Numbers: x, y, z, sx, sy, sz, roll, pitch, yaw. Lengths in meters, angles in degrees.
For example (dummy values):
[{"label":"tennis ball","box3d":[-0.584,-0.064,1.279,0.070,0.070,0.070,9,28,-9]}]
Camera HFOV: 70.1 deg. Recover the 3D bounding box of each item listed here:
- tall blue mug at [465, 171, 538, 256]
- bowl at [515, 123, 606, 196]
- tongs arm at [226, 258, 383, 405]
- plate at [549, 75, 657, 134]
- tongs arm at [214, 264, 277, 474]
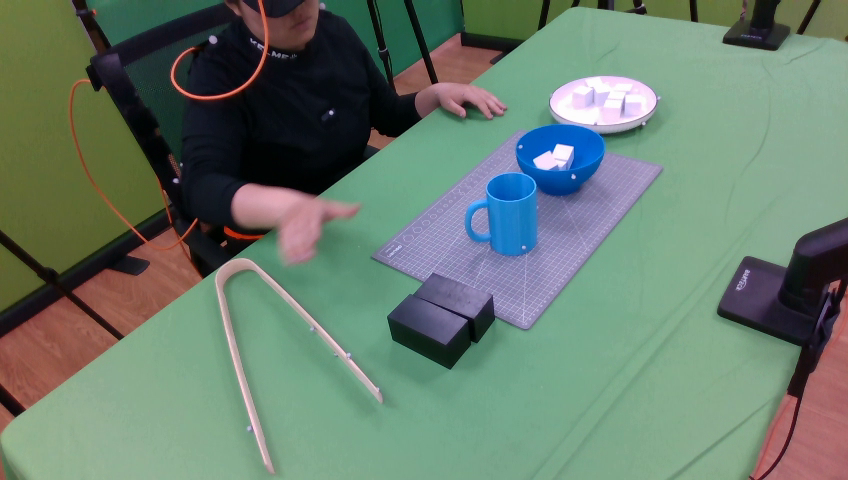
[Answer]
[{"label":"tall blue mug","box3d":[0.125,-0.033,0.925,0.107,0.108,0.077,-32,46,-25]},{"label":"bowl","box3d":[0.234,-0.130,1.044,0.151,0.077,0.150,-5,40,5]},{"label":"tongs arm","box3d":[-0.185,0.121,0.863,0.051,0.027,0.381,-34,45,-20]},{"label":"plate","box3d":[0.357,-0.269,1.220,0.209,0.038,0.208,-5,41,5]},{"label":"tongs arm","box3d":[-0.252,0.158,0.838,0.028,0.028,0.384,-27,43,-8]}]
